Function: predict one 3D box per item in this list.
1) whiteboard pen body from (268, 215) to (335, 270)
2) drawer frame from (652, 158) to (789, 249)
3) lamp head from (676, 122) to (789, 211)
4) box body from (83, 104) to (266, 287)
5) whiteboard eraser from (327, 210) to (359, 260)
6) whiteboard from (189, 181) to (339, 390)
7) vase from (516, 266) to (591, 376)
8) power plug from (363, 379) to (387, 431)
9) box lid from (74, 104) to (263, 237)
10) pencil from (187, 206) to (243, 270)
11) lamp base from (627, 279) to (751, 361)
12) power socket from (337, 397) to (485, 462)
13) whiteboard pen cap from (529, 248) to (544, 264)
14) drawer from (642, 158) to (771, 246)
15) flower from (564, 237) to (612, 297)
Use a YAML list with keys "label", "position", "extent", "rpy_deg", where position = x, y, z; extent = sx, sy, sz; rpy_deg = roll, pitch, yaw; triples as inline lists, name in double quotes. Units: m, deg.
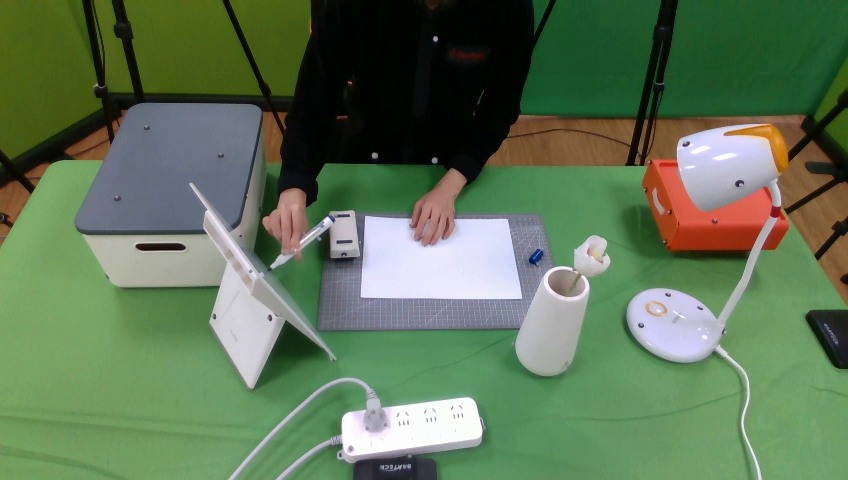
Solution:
- label: "whiteboard pen body"
  position: [-0.206, 0.006, 1.009]
  extent: [0.141, 0.017, 0.017]
  rpy_deg: [-39, 57, -5]
- label: "drawer frame"
  position: [0.571, -0.075, 1.214]
  extent: [0.214, 0.083, 0.200]
  rpy_deg: [0, 45, -1]
- label: "lamp head"
  position: [0.423, -0.104, 0.819]
  extent: [0.122, 0.113, 0.112]
  rpy_deg: [-13, 33, 40]
- label: "box body"
  position: [-0.447, -0.088, 1.150]
  extent: [0.254, 0.161, 0.361]
  rpy_deg: [-1, 46, -5]
- label: "whiteboard eraser"
  position: [-0.158, -0.010, 1.177]
  extent: [0.055, 0.042, 0.112]
  rpy_deg: [-5, 47, -7]
- label: "whiteboard"
  position: [-0.292, 0.096, 0.929]
  extent: [0.144, 0.307, 0.216]
  rpy_deg: [-37, 57, -10]
- label: "vase"
  position: [0.208, 0.132, 0.964]
  extent: [0.098, 0.201, 0.097]
  rpy_deg: [3, 46, -3]
- label: "power plug"
  position: [-0.072, 0.252, 0.910]
  extent: [0.035, 0.053, 0.072]
  rpy_deg: [3, 45, -1]
- label: "box lid"
  position: [-0.443, -0.139, 1.095]
  extent: [0.263, 0.015, 0.369]
  rpy_deg: [-1, 45, -5]
- label: "pencil"
  position: [-0.401, -0.009, 1.176]
  extent: [0.012, 0.012, 0.193]
  rpy_deg: [15, 44, 10]
- label: "lamp base"
  position: [0.459, 0.100, 1.027]
  extent: [0.178, 0.181, 0.160]
  rpy_deg: [27, 51, 17]
- label: "power socket"
  position: [-0.018, 0.285, 0.915]
  extent: [0.227, 0.033, 0.071]
  rpy_deg: [-5, 46, -8]
- label: "whiteboard pen cap"
  position: [0.219, 0.032, 1.183]
  extent: [0.018, 0.018, 0.033]
  rpy_deg: [31, 51, 23]
- label: "drawer"
  position: [0.565, -0.076, 1.211]
  extent: [0.212, 0.073, 0.193]
  rpy_deg: [2, 45, -2]
- label: "flower"
  position: [0.206, 0.088, 0.893]
  extent: [0.038, 0.363, 0.044]
  rpy_deg: [-16, 67, -9]
